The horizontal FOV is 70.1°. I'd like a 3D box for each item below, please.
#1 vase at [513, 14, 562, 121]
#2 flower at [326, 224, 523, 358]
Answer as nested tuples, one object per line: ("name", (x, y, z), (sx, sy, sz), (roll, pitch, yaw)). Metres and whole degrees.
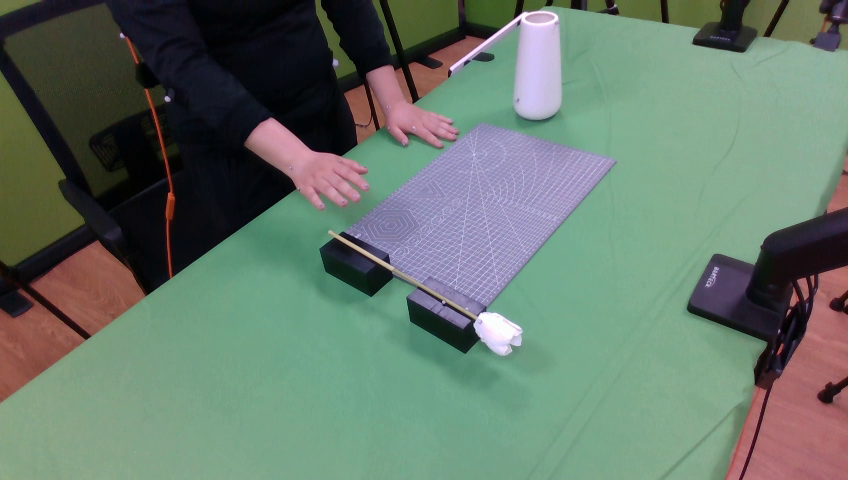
("vase", (0.225, -0.336, 1.196), (0.098, 0.201, 0.097), (-5, 42, 5))
("flower", (-0.018, 0.054, 0.836), (0.358, 0.038, 0.044), (31, 84, 32))
